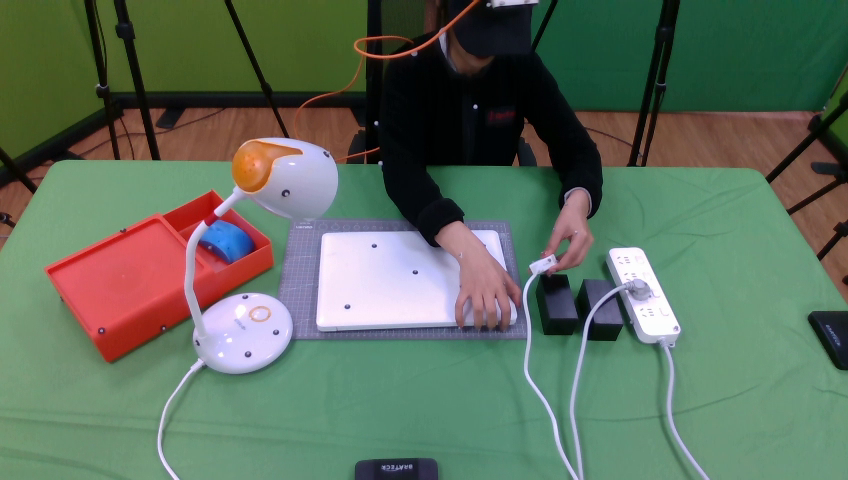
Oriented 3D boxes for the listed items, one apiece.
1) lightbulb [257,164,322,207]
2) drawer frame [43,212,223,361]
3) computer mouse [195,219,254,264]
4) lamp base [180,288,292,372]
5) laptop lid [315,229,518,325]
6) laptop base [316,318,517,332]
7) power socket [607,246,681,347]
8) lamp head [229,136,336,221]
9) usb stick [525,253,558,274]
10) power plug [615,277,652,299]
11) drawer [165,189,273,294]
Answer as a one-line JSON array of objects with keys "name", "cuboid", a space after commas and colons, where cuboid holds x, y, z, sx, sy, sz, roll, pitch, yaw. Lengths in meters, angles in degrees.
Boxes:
[{"name": "lightbulb", "cuboid": [-0.181, -0.077, 0.810, 0.059, 0.059, 0.108, 36, 11, 27]}, {"name": "drawer frame", "cuboid": [-0.497, 0.073, 1.049, 0.213, 0.083, 0.200, -34, 57, -31]}, {"name": "computer mouse", "cuboid": [-0.380, -0.003, 1.152, 0.116, 0.041, 0.062, 28, 53, 28]}, {"name": "lamp base", "cuboid": [-0.309, 0.108, 0.959, 0.160, 0.181, 0.179, 29, 55, 22]}, {"name": "laptop lid", "cuboid": [-0.018, 0.061, 1.121, 0.357, 0.013, 0.240, 0, 43, -4]}, {"name": "laptop base", "cuboid": [-0.019, 0.071, 1.128, 0.355, 0.023, 0.234, -1, 43, -5]}, {"name": "power socket", "cuboid": [0.403, 0.096, 1.123, 0.072, 0.033, 0.225, -3, 46, -5]}, {"name": "lamp head", "cuboid": [-0.196, -0.085, 0.791, 0.112, 0.112, 0.123, 36, 14, 27]}, {"name": "usb stick", "cuboid": [0.208, 0.045, 1.085, 0.027, 0.059, 0.021, -22, 87, -63]}, {"name": "power plug", "cuboid": [0.375, 0.088, 1.096, 0.072, 0.053, 0.035, 6, 46, 2]}, {"name": "drawer", "cuboid": [-0.419, 0.021, 1.108, 0.193, 0.073, 0.211, 37, 55, 27]}]
